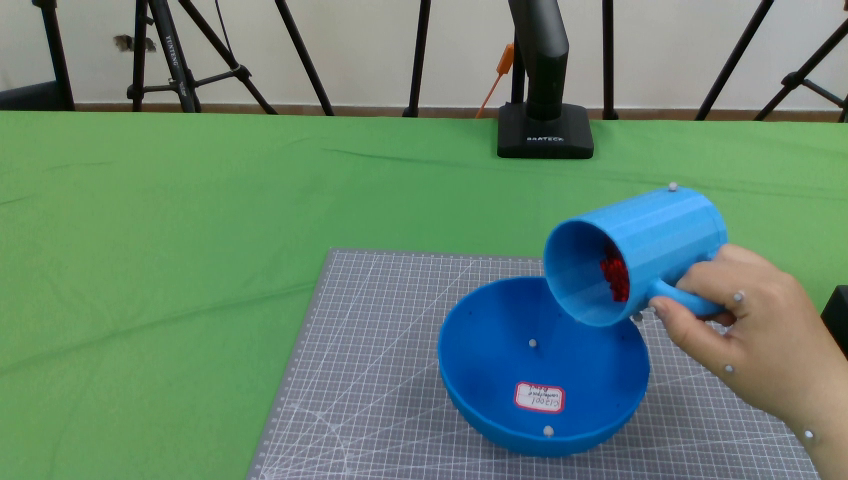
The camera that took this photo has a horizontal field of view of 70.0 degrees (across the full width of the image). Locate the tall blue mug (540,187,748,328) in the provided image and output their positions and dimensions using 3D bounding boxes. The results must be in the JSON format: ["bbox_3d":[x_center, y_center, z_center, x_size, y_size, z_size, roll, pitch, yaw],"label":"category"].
[{"bbox_3d":[0.156,0.009,0.417,0.108,0.078,0.106,-17,5,-33],"label":"tall blue mug"}]

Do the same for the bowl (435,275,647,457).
[{"bbox_3d":[0.083,0.106,0.458,0.151,0.077,0.150,-1,41,1],"label":"bowl"}]
